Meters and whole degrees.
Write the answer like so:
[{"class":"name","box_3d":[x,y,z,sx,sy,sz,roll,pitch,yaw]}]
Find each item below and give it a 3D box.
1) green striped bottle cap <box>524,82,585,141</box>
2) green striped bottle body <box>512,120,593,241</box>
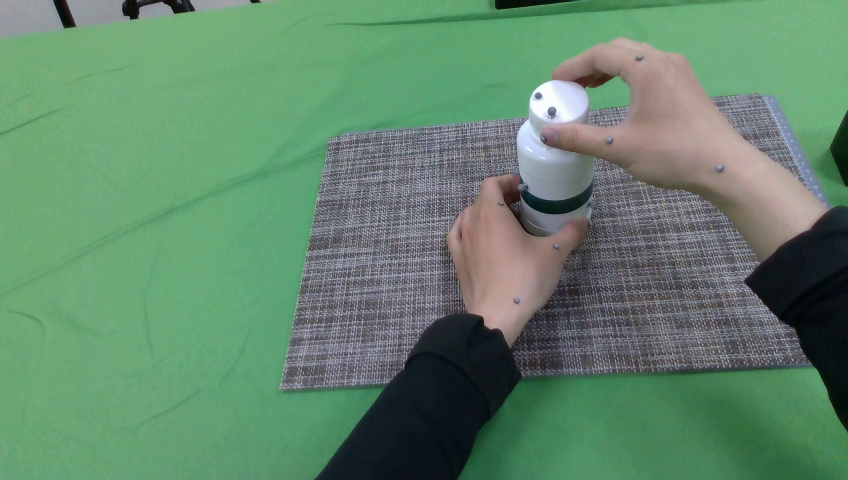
[{"class":"green striped bottle cap","box_3d":[0.097,-0.095,0.449,0.044,0.020,0.044,-3,57,5]},{"class":"green striped bottle body","box_3d":[0.106,-0.059,0.502,0.063,0.120,0.062,-5,50,7]}]
